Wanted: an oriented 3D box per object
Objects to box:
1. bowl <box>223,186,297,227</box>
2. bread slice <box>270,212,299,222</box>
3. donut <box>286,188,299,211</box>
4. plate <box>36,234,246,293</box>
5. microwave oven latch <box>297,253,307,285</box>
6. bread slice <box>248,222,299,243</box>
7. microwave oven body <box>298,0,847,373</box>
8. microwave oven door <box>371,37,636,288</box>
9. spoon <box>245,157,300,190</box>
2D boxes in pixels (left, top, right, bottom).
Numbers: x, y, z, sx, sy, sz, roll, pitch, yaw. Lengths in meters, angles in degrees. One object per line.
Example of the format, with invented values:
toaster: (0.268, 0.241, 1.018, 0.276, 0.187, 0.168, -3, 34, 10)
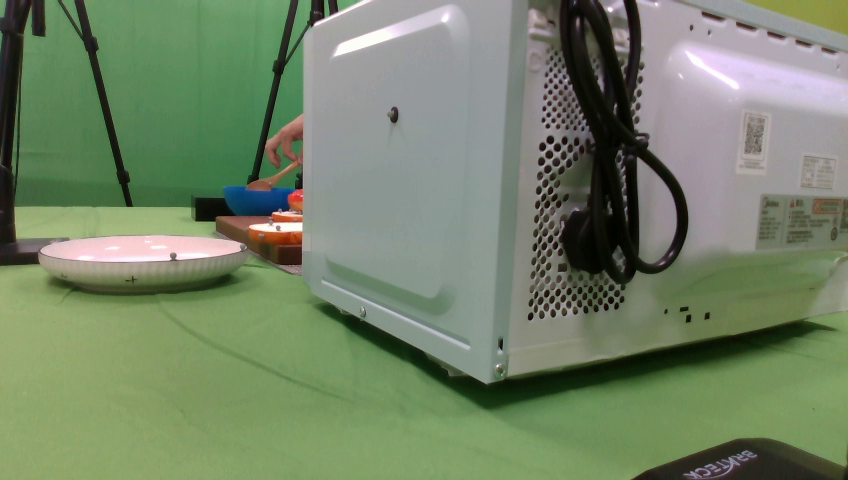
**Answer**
bowl: (-0.330, -0.068, 1.230, 0.151, 0.077, 0.151, 2, 7, 0)
bread slice: (-0.198, -0.038, 1.051, 0.132, 0.019, 0.104, 0, 6, -31)
donut: (-0.190, -0.068, 1.055, 0.099, 0.048, 0.099, 3, 6, 0)
plate: (-0.305, 0.026, 0.668, 0.208, 0.039, 0.207, 3, 7, 0)
microwave oven latch: (-0.082, 0.027, 0.582, 0.079, 0.029, 0.030, -1, 7, -32)
bread slice: (-0.174, -0.012, 0.844, 0.135, 0.018, 0.106, -6, 10, -44)
microwave oven body: (0.151, -0.055, 0.542, 0.444, 0.260, 0.324, -2, 7, -33)
microwave oven door: (0.109, -0.080, 0.686, 0.358, 0.243, 0.039, -2, 9, -33)
spoon: (-0.299, -0.146, 1.291, 0.194, 0.041, 0.021, -39, 9, -20)
